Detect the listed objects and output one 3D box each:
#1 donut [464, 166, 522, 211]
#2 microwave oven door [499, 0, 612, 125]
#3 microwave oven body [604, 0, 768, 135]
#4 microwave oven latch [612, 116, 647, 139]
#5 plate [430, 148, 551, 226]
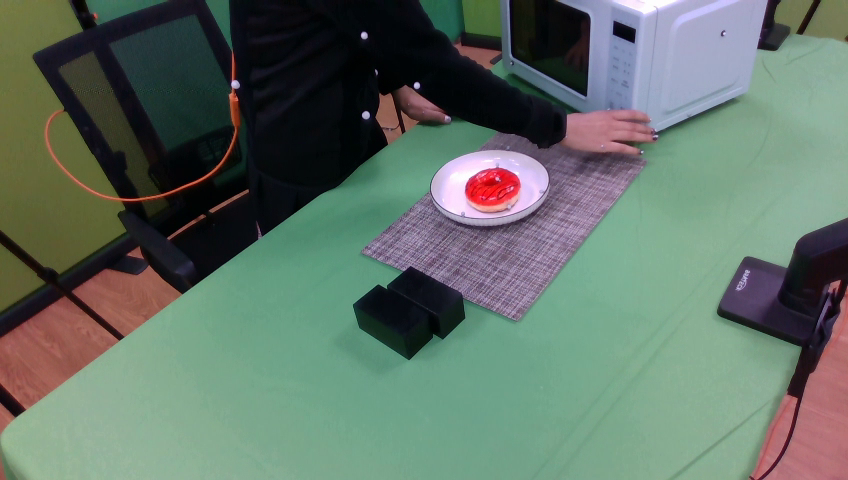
[{"bbox_3d":[0.117,-0.089,1.031,0.099,0.048,0.098,-7,41,7],"label":"donut"},{"bbox_3d":[0.261,-0.410,1.219,0.039,0.245,0.352,-24,42,-17],"label":"microwave oven door"},{"bbox_3d":[0.411,-0.441,1.235,0.327,0.261,0.437,-25,42,-16],"label":"microwave oven body"},{"bbox_3d":[0.382,-0.218,1.129,0.030,0.029,0.078,-16,40,-6],"label":"microwave oven latch"},{"bbox_3d":[0.114,-0.089,1.049,0.209,0.038,0.208,-5,40,5],"label":"plate"}]
